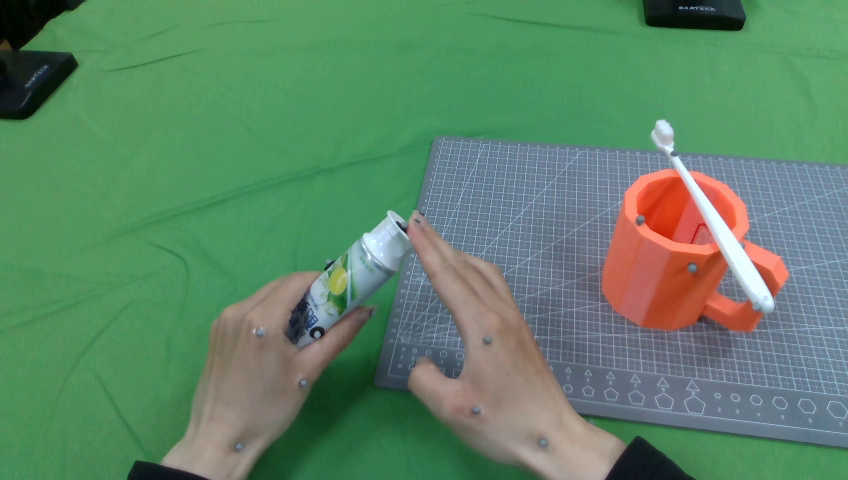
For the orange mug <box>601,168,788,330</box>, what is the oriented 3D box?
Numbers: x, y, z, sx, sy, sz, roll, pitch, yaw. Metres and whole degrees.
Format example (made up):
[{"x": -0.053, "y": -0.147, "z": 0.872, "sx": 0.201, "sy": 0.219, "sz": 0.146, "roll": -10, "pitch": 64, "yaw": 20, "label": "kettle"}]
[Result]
[{"x": 0.203, "y": 0.015, "z": 0.464, "sx": 0.125, "sy": 0.102, "sz": 0.083, "roll": 30, "pitch": 57, "yaw": 31, "label": "orange mug"}]

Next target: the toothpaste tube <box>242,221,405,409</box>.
[{"x": -0.073, "y": 0.046, "z": 0.431, "sx": 0.165, "sy": 0.035, "sz": 0.054, "roll": -46, "pitch": 48, "yaw": 13, "label": "toothpaste tube"}]

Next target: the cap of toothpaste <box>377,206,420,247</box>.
[{"x": -0.019, "y": -0.008, "z": 0.411, "sx": 0.011, "sy": 0.038, "sz": 0.037, "roll": -48, "pitch": 54, "yaw": 10, "label": "cap of toothpaste"}]

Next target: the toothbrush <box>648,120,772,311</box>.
[{"x": 0.199, "y": -0.025, "z": 0.430, "sx": 0.014, "sy": 0.017, "sz": 0.180, "roll": -6, "pitch": 49, "yaw": -5, "label": "toothbrush"}]
